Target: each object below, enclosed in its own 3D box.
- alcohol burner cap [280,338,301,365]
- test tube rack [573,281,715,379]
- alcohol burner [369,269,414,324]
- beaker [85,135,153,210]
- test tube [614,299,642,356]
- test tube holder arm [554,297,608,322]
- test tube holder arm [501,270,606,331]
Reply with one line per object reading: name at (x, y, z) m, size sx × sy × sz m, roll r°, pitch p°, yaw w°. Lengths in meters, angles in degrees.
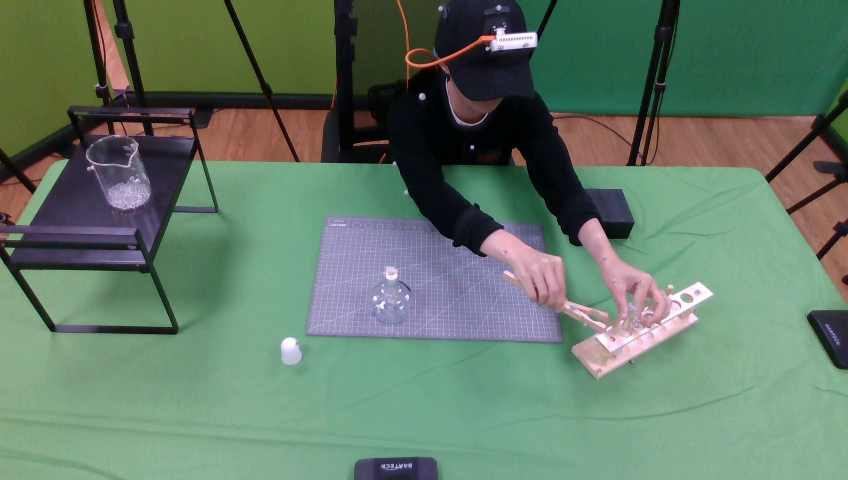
alcohol burner cap at (-0.220, 0.179, 0.993) m, size 0.034 × 0.048 × 0.033 m, roll 2°, pitch 46°, yaw -2°
test tube rack at (0.378, 0.140, 1.038) m, size 0.242 × 0.085 × 0.066 m, roll -22°, pitch 51°, yaw -23°
alcohol burner at (-0.056, 0.089, 1.037) m, size 0.078 × 0.120 × 0.077 m, roll 1°, pitch 47°, yaw -1°
beaker at (-0.475, -0.102, 0.957) m, size 0.083 × 0.101 × 0.074 m, roll 34°, pitch 53°, yaw 26°
test tube at (0.322, 0.141, 0.960) m, size 0.017 × 0.151 × 0.017 m, roll -2°, pitch 49°, yaw 2°
test tube holder arm at (0.245, 0.109, 0.954) m, size 0.088 × 0.015 × 0.010 m, roll 17°, pitch 44°, yaw -1°
test tube holder arm at (0.203, 0.095, 0.955) m, size 0.178 × 0.015 × 0.013 m, roll 27°, pitch 44°, yaw 10°
